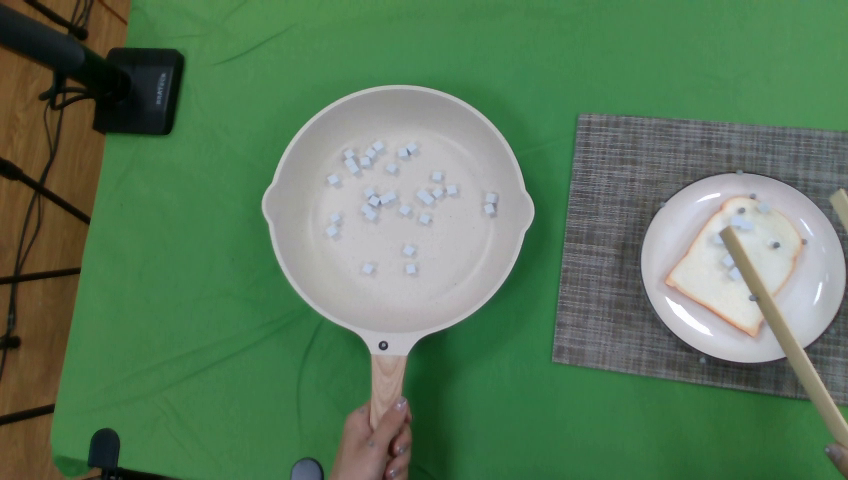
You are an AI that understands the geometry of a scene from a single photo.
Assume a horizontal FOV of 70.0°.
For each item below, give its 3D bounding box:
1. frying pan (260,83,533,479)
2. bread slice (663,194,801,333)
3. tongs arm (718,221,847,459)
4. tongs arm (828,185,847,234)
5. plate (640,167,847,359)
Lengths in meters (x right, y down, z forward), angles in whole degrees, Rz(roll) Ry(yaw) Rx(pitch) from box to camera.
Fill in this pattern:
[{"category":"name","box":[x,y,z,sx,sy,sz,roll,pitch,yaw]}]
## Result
[{"category":"frying pan","box":[-0.037,0.065,0.675,0.306,0.103,0.485,2,72,4]},{"category":"bread slice","box":[0.340,0.017,0.664,0.106,0.018,0.134,30,89,12]},{"category":"tongs arm","box":[0.358,0.152,0.511,0.028,0.028,0.384,-22,72,-7]},{"category":"tongs arm","box":[0.417,0.132,0.512,0.051,0.027,0.382,-16,72,-2]},{"category":"plate","box":[0.342,0.025,0.661,0.207,0.039,0.207,-2,81,10]}]
